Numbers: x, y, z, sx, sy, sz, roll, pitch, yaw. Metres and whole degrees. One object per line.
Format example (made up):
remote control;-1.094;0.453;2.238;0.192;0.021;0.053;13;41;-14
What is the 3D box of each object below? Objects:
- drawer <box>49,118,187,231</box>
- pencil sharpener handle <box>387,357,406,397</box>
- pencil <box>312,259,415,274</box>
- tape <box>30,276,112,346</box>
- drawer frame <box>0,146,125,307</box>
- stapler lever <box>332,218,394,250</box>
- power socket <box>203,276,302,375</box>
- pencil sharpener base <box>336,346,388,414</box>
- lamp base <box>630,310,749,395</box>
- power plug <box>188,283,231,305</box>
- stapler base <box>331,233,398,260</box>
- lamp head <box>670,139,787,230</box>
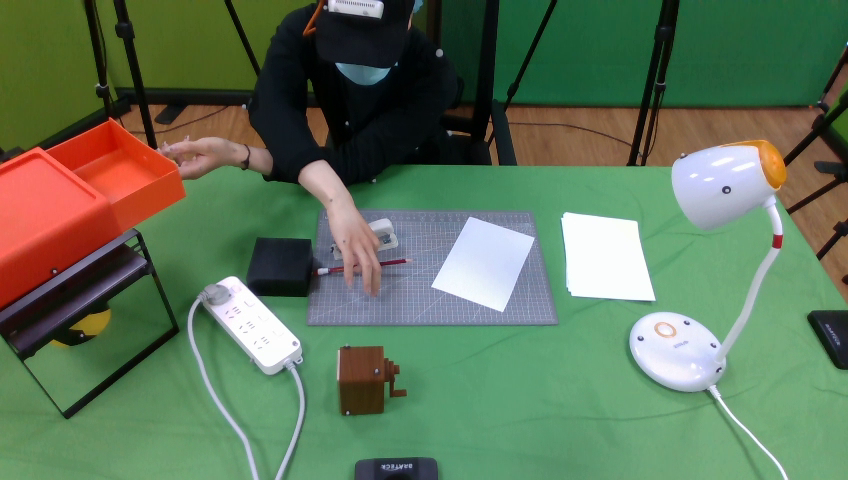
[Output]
drawer;-0.523;-0.085;0.954;0.193;0.073;0.211;32;53;24
pencil sharpener handle;-0.041;0.209;0.919;0.031;0.068;0.036;-1;24;-6
pencil;-0.113;0.048;1.134;0.194;0.012;0.012;-7;47;-1
tape;-0.594;0.118;1.021;0.117;0.053;0.116;3;44;-2
drawer frame;-0.596;-0.023;0.886;0.201;0.083;0.213;31;52;22
stapler lever;-0.116;-0.012;1.162;0.118;0.040;0.026;-13;48;-14
power socket;-0.297;0.141;1.034;0.072;0.033;0.225;-34;58;-30
pencil sharpener base;-0.093;0.215;0.927;0.077;0.107;0.061;-1;46;-6
lamp base;0.447;0.143;0.984;0.161;0.181;0.178;-24;55;-24
power plug;-0.368;0.099;1.037;0.072;0.053;0.035;-23;52;-26
stapler base;-0.116;0.004;1.181;0.131;0.024;0.041;-13;48;-14
lamp head;0.415;-0.078;0.812;0.113;0.123;0.112;13;70;-37
